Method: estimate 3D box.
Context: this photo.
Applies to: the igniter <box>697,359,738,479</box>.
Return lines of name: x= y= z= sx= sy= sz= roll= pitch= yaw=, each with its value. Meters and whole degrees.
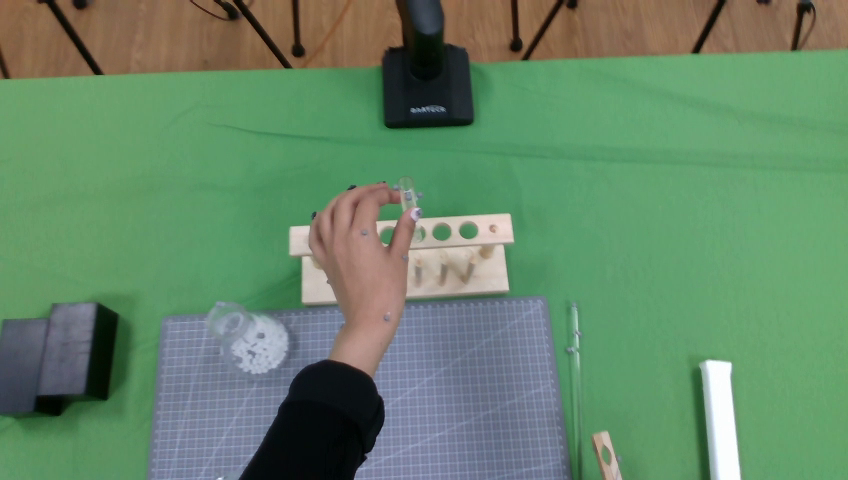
igniter: x=0.312 y=0.263 z=0.633 sx=0.057 sy=0.025 sz=0.274 roll=9 pitch=69 yaw=-8

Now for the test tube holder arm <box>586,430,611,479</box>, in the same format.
test tube holder arm: x=0.180 y=0.234 z=0.600 sx=0.010 sy=0.015 sz=0.087 roll=-16 pitch=76 yaw=3

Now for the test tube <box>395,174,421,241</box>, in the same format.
test tube: x=-0.014 y=-0.029 z=0.609 sx=0.017 sy=0.151 sz=0.017 roll=-1 pitch=71 yaw=3

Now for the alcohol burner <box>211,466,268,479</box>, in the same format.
alcohol burner: x=-0.184 y=0.258 z=0.581 sx=0.078 sy=0.120 sz=0.077 roll=-1 pitch=67 yaw=2

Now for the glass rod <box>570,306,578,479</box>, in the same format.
glass rod: x=0.168 y=0.170 z=0.677 sx=0.008 sy=0.008 sz=0.198 roll=4 pitch=71 yaw=1

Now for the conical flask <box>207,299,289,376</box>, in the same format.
conical flask: x=-0.191 y=0.097 z=0.639 sx=0.075 sy=0.122 sz=0.075 roll=0 pitch=68 yaw=0

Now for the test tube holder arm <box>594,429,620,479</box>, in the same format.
test tube holder arm: x=0.197 y=0.274 z=0.589 sx=0.013 sy=0.015 sz=0.177 roll=-17 pitch=76 yaw=3

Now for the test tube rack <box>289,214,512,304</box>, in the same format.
test tube rack: x=-0.024 y=0.023 z=0.693 sx=0.242 sy=0.086 sz=0.066 roll=-3 pitch=69 yaw=-2
